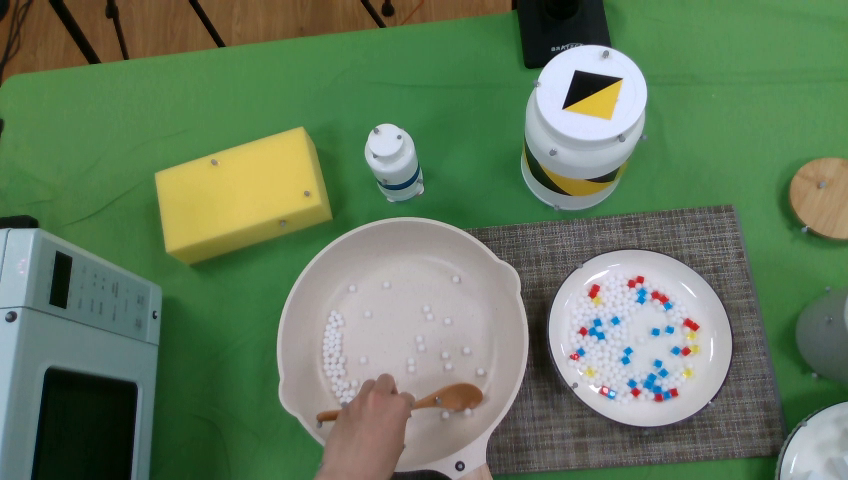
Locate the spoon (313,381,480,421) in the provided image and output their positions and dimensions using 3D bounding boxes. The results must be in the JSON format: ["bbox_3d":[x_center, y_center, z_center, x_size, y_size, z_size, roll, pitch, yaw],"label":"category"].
[{"bbox_3d":[-0.027,0.184,0.677,0.195,0.042,0.021,-3,32,-24],"label":"spoon"}]

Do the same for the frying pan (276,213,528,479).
[{"bbox_3d":[0.020,0.196,0.678,0.307,0.103,0.483,-28,64,-2],"label":"frying pan"}]

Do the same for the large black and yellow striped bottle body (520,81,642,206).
[{"bbox_3d":[0.183,-0.130,0.722,0.130,0.185,0.130,-2,72,6],"label":"large black and yellow striped bottle body"}]

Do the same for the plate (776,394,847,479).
[{"bbox_3d":[0.482,0.268,0.644,0.207,0.039,0.206,-2,73,6],"label":"plate"}]

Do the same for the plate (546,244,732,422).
[{"bbox_3d":[0.248,0.107,0.714,0.209,0.038,0.208,-2,73,6],"label":"plate"}]

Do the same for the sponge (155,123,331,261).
[{"bbox_3d":[-0.241,-0.063,0.810,0.207,0.061,0.117,-18,72,0],"label":"sponge"}]

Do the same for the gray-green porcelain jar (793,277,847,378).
[{"bbox_3d":[0.473,0.093,0.652,0.106,0.127,0.105,-2,72,6],"label":"gray-green porcelain jar"}]

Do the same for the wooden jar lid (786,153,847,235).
[{"bbox_3d":[0.504,-0.056,0.750,0.108,0.021,0.108,-2,74,6],"label":"wooden jar lid"}]

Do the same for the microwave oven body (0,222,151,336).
[{"bbox_3d":[-0.502,0.235,0.639,0.326,0.262,0.439,-5,73,4],"label":"microwave oven body"}]

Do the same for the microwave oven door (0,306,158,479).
[{"bbox_3d":[-0.356,0.262,0.609,0.039,0.245,0.353,-5,72,5],"label":"microwave oven door"}]

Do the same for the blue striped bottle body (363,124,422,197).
[{"bbox_3d":[-0.040,-0.105,0.770,0.063,0.121,0.062,-2,73,6],"label":"blue striped bottle body"}]

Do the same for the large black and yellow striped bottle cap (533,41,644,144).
[{"bbox_3d":[0.174,-0.157,0.642,0.115,0.019,0.114,-1,74,6],"label":"large black and yellow striped bottle cap"}]

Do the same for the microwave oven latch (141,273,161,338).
[{"bbox_3d":[-0.354,0.084,0.770,0.030,0.030,0.078,-4,73,5],"label":"microwave oven latch"}]

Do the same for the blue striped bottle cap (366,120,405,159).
[{"bbox_3d":[-0.046,-0.120,0.721,0.044,0.021,0.044,-3,70,7],"label":"blue striped bottle cap"}]
